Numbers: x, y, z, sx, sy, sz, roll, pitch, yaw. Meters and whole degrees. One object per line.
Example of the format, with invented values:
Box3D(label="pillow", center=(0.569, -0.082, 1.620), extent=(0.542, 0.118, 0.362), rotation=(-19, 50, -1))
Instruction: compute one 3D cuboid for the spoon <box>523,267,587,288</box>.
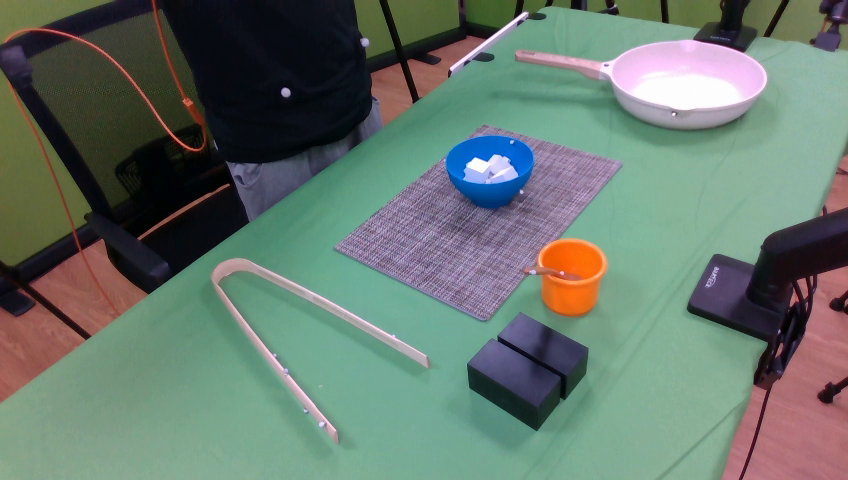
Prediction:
Box3D(label="spoon", center=(0.170, 0.046, 0.793), extent=(0.041, 0.195, 0.021), rotation=(20, 92, 33))

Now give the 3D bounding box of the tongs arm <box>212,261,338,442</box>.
Box3D(label="tongs arm", center=(-0.208, 0.136, 0.830), extent=(0.051, 0.026, 0.381), rotation=(-31, 45, -28))

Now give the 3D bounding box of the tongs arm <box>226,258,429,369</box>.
Box3D(label="tongs arm", center=(-0.150, 0.098, 0.873), extent=(0.384, 0.028, 0.028), rotation=(22, 50, 30))

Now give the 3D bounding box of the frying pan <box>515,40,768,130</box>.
Box3D(label="frying pan", center=(0.423, -0.337, 1.236), extent=(0.486, 0.103, 0.307), rotation=(16, 44, 13))

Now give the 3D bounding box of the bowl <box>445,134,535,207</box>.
Box3D(label="bowl", center=(0.113, -0.109, 1.029), extent=(0.151, 0.077, 0.150), rotation=(-4, 40, 4))
